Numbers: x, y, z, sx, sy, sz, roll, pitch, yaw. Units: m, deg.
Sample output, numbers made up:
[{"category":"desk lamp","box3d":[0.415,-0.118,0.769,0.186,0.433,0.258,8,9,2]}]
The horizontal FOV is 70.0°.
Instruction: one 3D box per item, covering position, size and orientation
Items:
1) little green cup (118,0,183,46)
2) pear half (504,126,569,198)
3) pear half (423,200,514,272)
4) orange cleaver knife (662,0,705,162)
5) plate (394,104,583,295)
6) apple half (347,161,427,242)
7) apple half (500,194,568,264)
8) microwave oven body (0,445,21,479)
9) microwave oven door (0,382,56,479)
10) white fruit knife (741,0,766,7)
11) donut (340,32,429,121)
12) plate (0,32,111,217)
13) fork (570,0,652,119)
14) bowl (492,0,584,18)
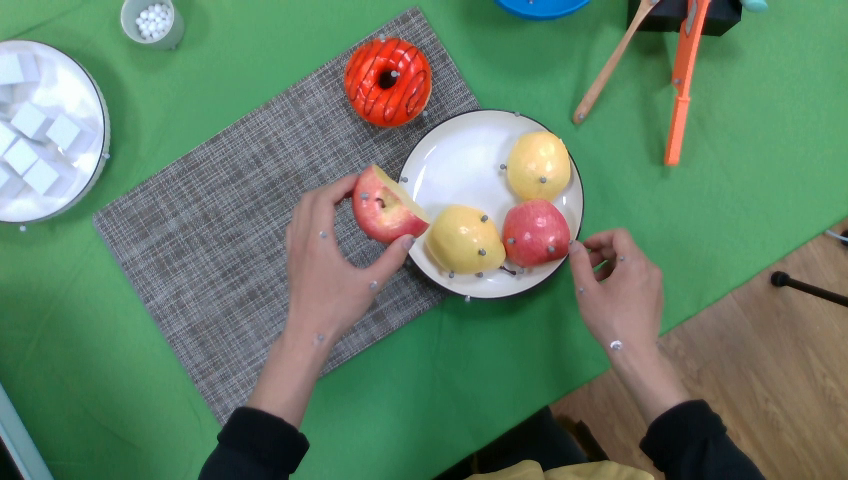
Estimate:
[{"category":"little green cup","box3d":[-0.307,-0.251,0.687,0.061,0.038,0.061,0,90,3]},{"category":"pear half","box3d":[0.118,-0.079,0.656,0.070,0.031,0.088,3,105,27]},{"category":"pear half","box3d":[0.055,0.004,0.659,0.110,0.056,0.076,31,96,-2]},{"category":"orange cleaver knife","box3d":[0.274,-0.190,0.644,0.012,0.076,0.213,4,116,7]},{"category":"plate","box3d":[0.069,-0.044,0.672,0.209,0.038,0.209,0,91,2]},{"category":"apple half","box3d":[-0.041,-0.029,0.576,0.081,0.074,0.053,45,100,-2]},{"category":"apple half","box3d":[0.113,-0.010,0.653,0.081,0.033,0.081,5,102,24]},{"category":"microwave oven body","box3d":[-0.597,0.304,0.590,0.326,0.260,0.441,-30,90,2]},{"category":"microwave oven door","box3d":[-0.449,0.269,0.579,0.039,0.244,0.355,-30,89,2]},{"category":"white fruit knife","box3d":[0.289,-0.328,0.626,0.027,0.016,0.207,-30,87,-27]},{"category":"donut","box3d":[-0.043,-0.180,0.671,0.099,0.048,0.099,0,92,5]},{"category":"plate","box3d":[-0.457,-0.129,0.694,0.207,0.039,0.207,0,91,2]},{"category":"fork","box3d":[0.213,-0.221,0.644,0.028,0.018,0.208,26,112,-6]},{"category":"bowl","box3d":[0.121,-0.304,0.651,0.151,0.077,0.151,0,91,2]}]
